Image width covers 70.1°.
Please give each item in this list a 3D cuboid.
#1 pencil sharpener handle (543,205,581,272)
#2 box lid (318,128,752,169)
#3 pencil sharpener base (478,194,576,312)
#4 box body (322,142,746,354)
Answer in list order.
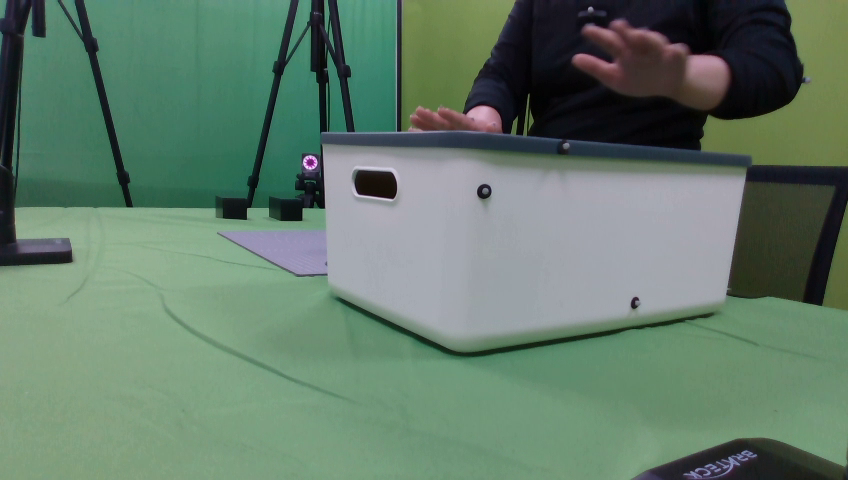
[{"bbox_3d":[0.146,-0.001,0.618,0.031,0.067,0.036,0,-3,-36],"label":"pencil sharpener handle"},{"bbox_3d":[0.107,-0.085,0.594,0.373,0.015,0.262,-1,8,-34],"label":"box lid"},{"bbox_3d":[0.102,0.011,0.591,0.077,0.107,0.061,0,6,-36],"label":"pencil sharpener base"},{"bbox_3d":[0.106,-0.011,0.603,0.366,0.160,0.253,-2,8,-34],"label":"box body"}]
